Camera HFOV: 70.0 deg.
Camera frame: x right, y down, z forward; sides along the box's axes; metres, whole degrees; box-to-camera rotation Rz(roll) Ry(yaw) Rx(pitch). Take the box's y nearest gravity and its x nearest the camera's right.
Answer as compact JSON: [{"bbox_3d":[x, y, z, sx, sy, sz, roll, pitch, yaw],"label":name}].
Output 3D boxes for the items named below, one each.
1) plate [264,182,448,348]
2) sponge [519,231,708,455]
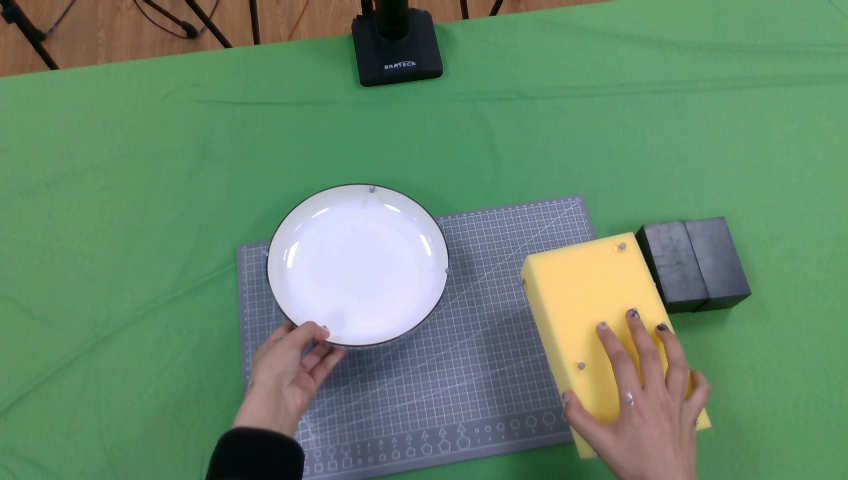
[{"bbox_3d":[-0.077,0.029,0.704,0.209,0.038,0.207,2,63,-4],"label":"plate"},{"bbox_3d":[0.188,0.104,0.629,0.118,0.061,0.205,-14,69,-6],"label":"sponge"}]
